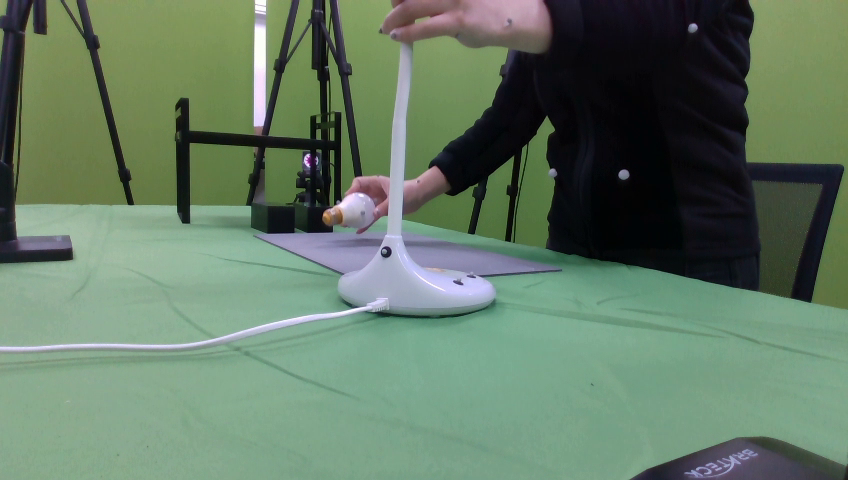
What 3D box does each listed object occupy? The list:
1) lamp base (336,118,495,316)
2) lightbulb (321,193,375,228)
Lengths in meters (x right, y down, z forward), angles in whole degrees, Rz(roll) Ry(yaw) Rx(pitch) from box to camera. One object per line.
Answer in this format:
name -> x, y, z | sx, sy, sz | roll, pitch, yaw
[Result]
lamp base -> -0.009, -0.026, 0.589 | 0.160, 0.180, 0.179 | 4, 10, 14
lightbulb -> -0.126, -0.044, 0.995 | 0.059, 0.059, 0.108 | 8, 17, 37
